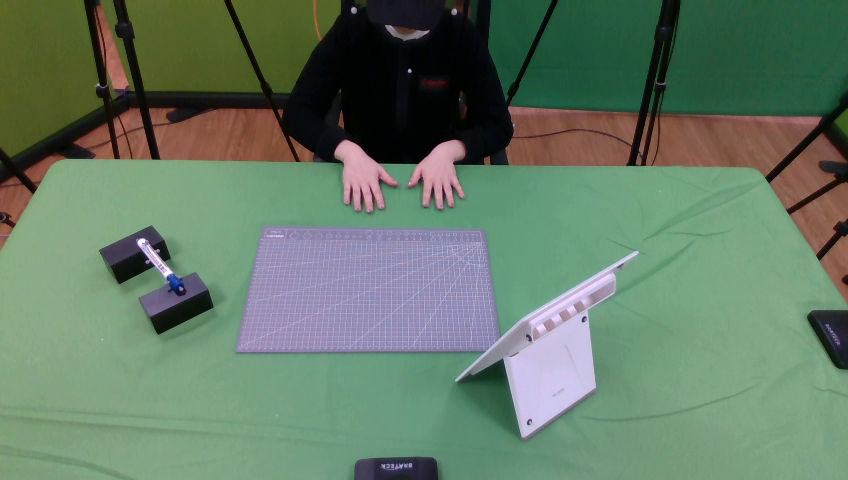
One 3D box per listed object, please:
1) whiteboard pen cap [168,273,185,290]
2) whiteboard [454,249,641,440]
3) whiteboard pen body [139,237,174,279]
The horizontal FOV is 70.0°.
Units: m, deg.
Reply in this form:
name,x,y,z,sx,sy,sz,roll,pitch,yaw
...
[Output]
name,x,y,z,sx,sy,sz,roll,pitch,yaw
whiteboard pen cap,-0.422,0.070,1.032,0.018,0.018,0.033,-33,54,-30
whiteboard,0.206,0.174,0.890,0.217,0.306,0.143,-24,72,-25
whiteboard pen body,-0.462,0.038,1.059,0.017,0.017,0.140,-32,56,-29
